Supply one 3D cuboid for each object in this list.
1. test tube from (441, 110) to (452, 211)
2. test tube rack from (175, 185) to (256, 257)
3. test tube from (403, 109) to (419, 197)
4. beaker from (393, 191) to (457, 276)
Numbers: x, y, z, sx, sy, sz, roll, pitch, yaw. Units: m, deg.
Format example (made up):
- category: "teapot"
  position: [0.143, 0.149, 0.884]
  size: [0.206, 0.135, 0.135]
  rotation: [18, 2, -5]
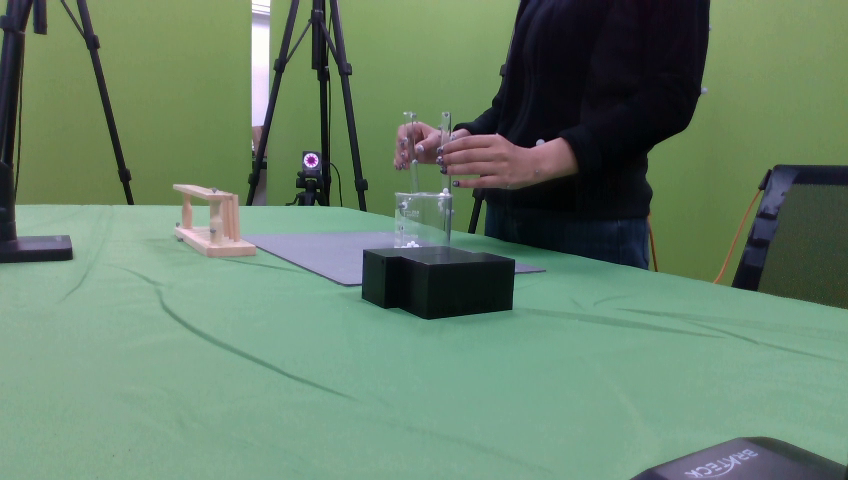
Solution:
- category: "test tube"
  position: [0.033, -0.118, 0.897]
  size: [0.017, 0.150, 0.017]
  rotation: [0, -1, 0]
- category: "test tube rack"
  position: [-0.324, -0.035, 0.922]
  size: [0.067, 0.085, 0.241]
  rotation: [-2, 9, -31]
- category: "test tube"
  position: [-0.021, -0.145, 1.021]
  size: [0.017, 0.150, 0.017]
  rotation: [-4, 20, 2]
- category: "beaker"
  position: [-0.003, -0.010, 0.749]
  size: [0.074, 0.100, 0.083]
  rotation: [-3, 9, -40]
